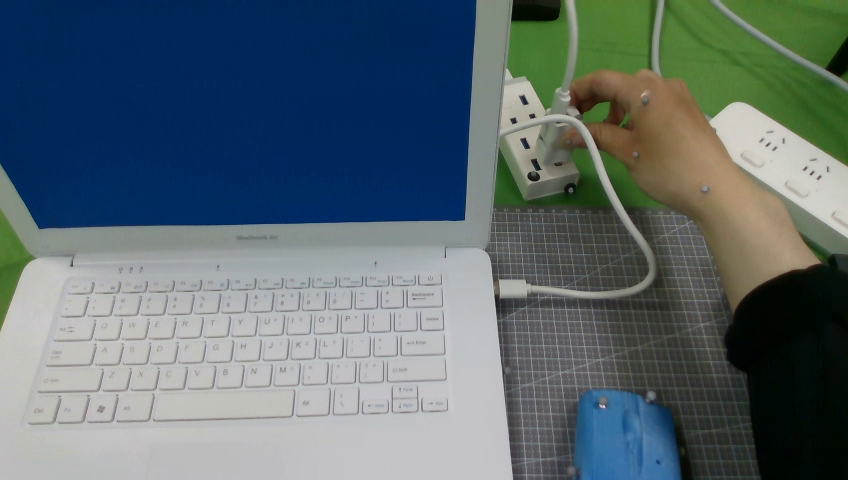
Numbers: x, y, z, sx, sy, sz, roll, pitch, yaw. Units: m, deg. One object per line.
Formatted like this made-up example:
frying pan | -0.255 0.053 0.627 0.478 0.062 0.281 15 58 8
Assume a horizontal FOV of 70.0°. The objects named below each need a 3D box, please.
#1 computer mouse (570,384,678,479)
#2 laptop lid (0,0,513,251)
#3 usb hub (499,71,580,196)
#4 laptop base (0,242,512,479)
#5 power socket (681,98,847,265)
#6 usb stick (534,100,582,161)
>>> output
computer mouse | 0.123 0.144 0.377 0.062 0.041 0.116 10 53 9
laptop lid | -0.126 -0.078 0.390 0.357 0.244 0.013 -2 44 -1
usb hub | 0.090 -0.098 0.543 0.049 0.025 0.124 -14 59 -9
laptop base | -0.122 0.108 0.411 0.354 0.023 0.233 -1 61 -2
power socket | 0.328 -0.042 0.509 0.072 0.033 0.225 -36 64 -23
usb stick | 0.107 -0.084 0.493 0.027 0.059 0.021 -16 59 -11
